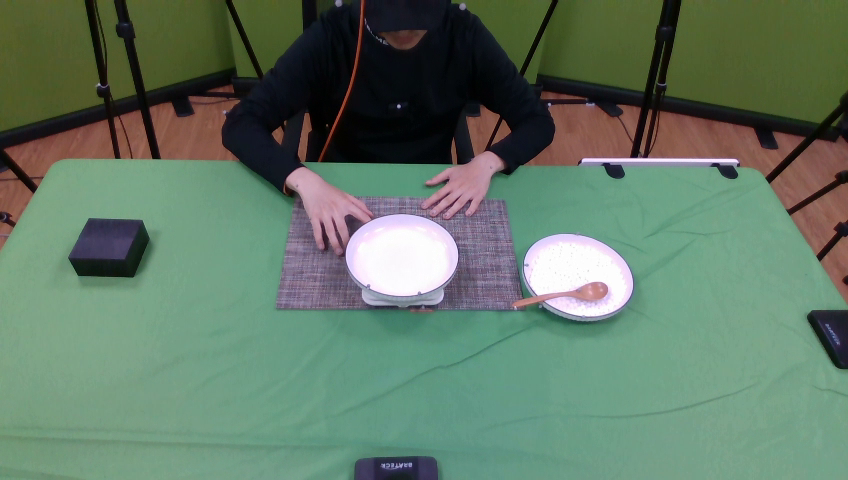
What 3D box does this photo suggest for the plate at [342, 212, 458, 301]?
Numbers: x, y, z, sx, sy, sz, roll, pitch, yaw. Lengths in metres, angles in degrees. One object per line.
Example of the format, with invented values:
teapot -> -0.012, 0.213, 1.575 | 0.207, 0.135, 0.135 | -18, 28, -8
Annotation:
plate -> -0.043, 0.033, 1.105 | 0.208, 0.039, 0.206 | 2, 46, -2

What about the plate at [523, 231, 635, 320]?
plate -> 0.287, 0.069, 1.141 | 0.209, 0.038, 0.208 | 2, 46, -2

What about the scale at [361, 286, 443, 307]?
scale -> -0.042, 0.041, 1.143 | 0.149, 0.032, 0.199 | 0, 46, -4

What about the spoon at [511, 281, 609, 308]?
spoon -> 0.245, 0.098, 1.088 | 0.194, 0.022, 0.041 | -5, 47, -19
